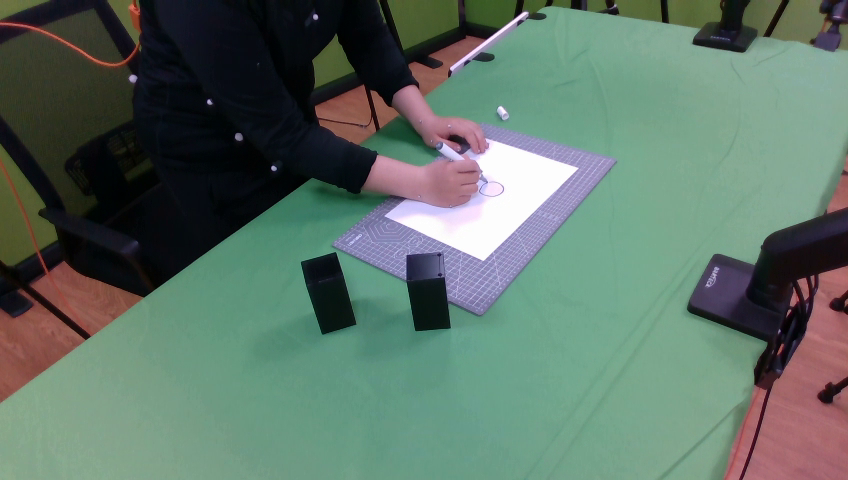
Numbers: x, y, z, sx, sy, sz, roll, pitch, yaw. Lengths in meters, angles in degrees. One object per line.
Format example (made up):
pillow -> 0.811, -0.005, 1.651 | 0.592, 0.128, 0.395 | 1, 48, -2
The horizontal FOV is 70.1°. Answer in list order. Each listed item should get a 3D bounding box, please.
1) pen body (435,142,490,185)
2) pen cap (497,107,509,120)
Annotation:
pen body -> 0.070, -0.127, 1.036 | 0.017, 0.145, 0.017 | -22, 54, 35
pen cap -> 0.164, -0.264, 1.262 | 0.017, 0.017, 0.038 | -14, 41, -7
